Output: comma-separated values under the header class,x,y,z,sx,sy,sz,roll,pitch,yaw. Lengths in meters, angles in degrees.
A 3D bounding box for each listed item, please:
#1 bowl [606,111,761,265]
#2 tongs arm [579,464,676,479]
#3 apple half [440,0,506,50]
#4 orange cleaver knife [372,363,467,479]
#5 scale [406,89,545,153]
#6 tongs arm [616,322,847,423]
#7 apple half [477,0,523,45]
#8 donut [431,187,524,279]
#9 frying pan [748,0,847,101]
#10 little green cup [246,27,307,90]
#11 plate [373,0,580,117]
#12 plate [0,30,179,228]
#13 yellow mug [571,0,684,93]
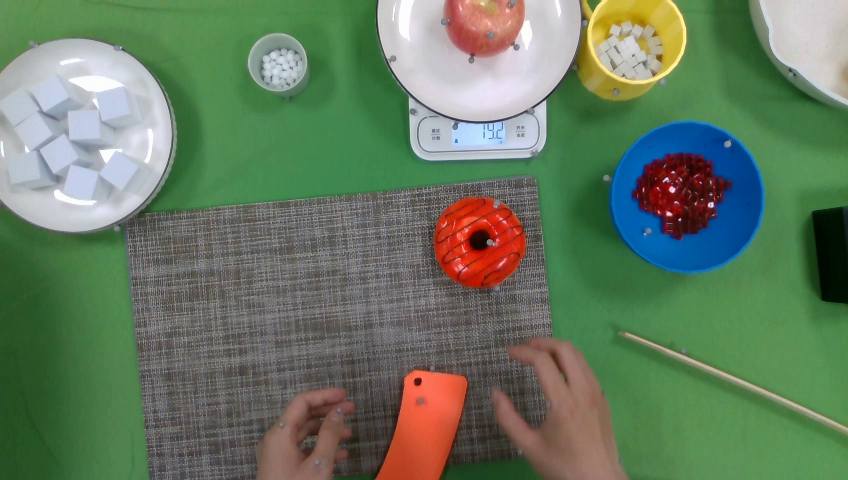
class,x,y,z,sx,sy,sz,roll,pitch,yaw
bowl,0.255,-0.050,0.628,0.151,0.077,0.151,0,90,0
tongs arm,0.360,0.255,0.646,0.385,0.026,0.050,10,87,0
apple half,0.040,-0.207,0.591,0.081,0.081,0.033,39,86,1
orange cleaver knife,-0.017,0.229,0.649,0.077,0.012,0.211,23,87,-6
scale,0.054,-0.197,0.651,0.149,0.031,0.200,-2,90,0
tongs arm,0.383,0.172,0.647,0.388,0.028,0.028,24,84,0
apple half,0.065,-0.237,0.593,0.080,0.075,0.053,40,86,3
donut,0.055,-0.007,0.640,0.099,0.048,0.099,0,90,2
frying pan,0.530,-0.191,0.617,0.307,0.103,0.486,-33,82,1
little green cup,-0.154,-0.191,0.647,0.061,0.038,0.061,0,89,0
plate,0.053,-0.228,0.619,0.209,0.038,0.209,0,89,-1
plate,-0.362,-0.115,0.645,0.208,0.039,0.207,0,89,0
yellow mug,0.201,-0.224,0.635,0.100,0.064,0.131,-38,89,0
